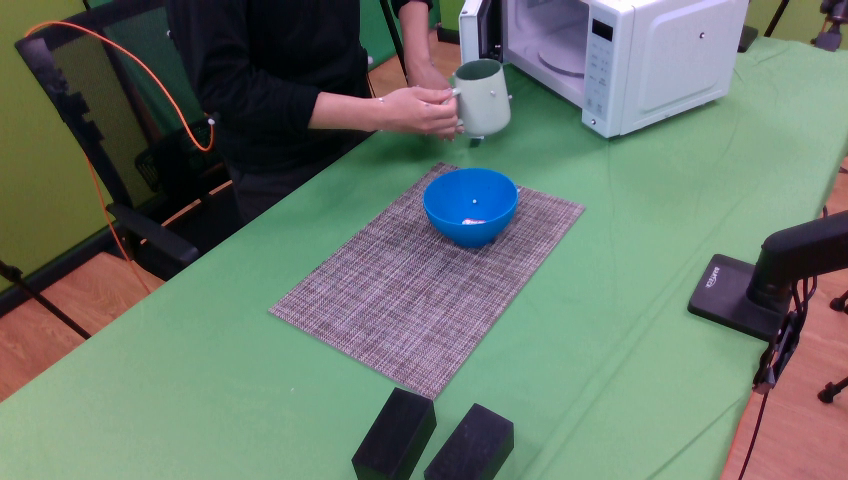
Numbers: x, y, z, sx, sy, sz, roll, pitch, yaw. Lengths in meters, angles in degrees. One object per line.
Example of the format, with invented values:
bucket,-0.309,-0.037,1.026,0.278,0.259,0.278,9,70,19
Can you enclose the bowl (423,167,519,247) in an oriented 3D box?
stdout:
bowl,0.075,-0.041,0.958,0.151,0.077,0.150,-4,40,4

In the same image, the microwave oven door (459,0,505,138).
microwave oven door,0.124,-0.404,1.227,0.039,0.245,0.355,3,42,13

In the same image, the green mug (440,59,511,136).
green mug,0.083,-0.231,1.014,0.126,0.105,0.091,-28,42,-16

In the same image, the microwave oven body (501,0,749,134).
microwave oven body,0.382,-0.445,1.246,0.327,0.261,0.437,-22,42,-16

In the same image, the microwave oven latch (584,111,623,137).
microwave oven latch,0.337,-0.222,1.142,0.030,0.029,0.078,-21,42,-14
